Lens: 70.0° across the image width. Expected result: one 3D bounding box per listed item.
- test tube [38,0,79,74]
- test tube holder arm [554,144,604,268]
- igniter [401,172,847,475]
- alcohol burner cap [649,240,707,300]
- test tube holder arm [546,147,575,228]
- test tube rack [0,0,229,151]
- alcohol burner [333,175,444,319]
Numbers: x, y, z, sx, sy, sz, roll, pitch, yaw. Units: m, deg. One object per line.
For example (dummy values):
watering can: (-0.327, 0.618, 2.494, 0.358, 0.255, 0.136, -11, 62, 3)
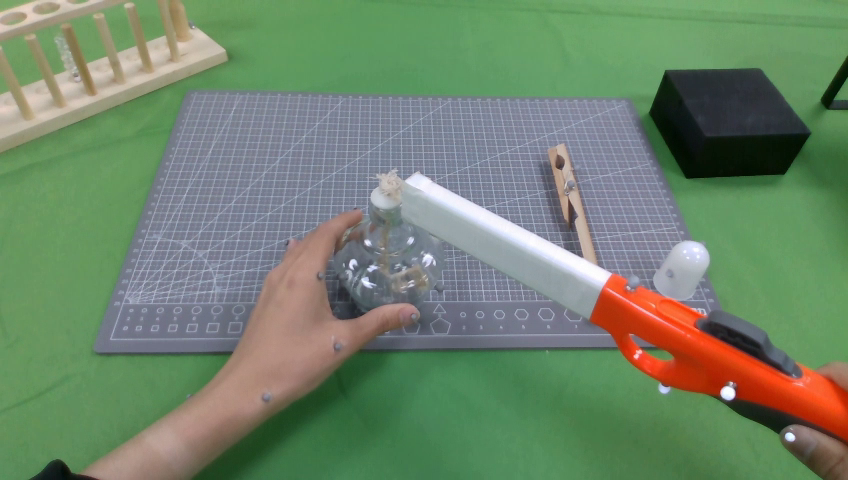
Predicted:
test tube: (-0.332, -0.214, 0.533, 0.017, 0.151, 0.017, 3, 46, -3)
test tube holder arm: (0.129, -0.015, 0.498, 0.013, 0.015, 0.176, -26, 46, 22)
igniter: (0.102, 0.036, 0.316, 0.274, 0.057, 0.025, 30, 47, 21)
alcohol burner cap: (0.193, 0.020, 0.457, 0.034, 0.048, 0.033, 2, 48, -2)
test tube holder arm: (0.121, -0.047, 0.528, 0.010, 0.015, 0.087, -25, 46, 22)
test tube rack: (-0.315, -0.177, 0.567, 0.242, 0.086, 0.066, -34, 59, -29)
alcohol burner: (-0.024, 0.000, 0.411, 0.078, 0.120, 0.077, 2, 50, -1)
